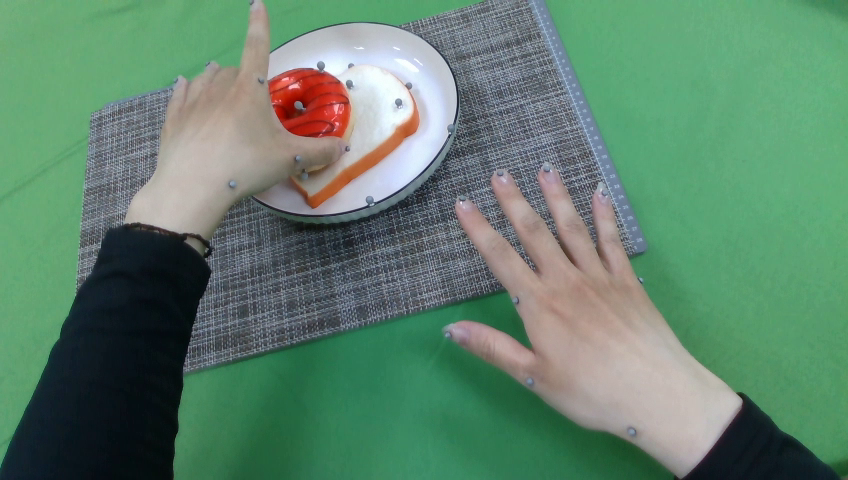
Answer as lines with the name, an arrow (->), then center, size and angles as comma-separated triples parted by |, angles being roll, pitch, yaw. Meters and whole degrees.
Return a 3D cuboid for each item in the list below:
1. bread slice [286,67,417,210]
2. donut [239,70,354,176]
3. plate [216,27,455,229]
bread slice -> -0.074, -0.099, 0.531 | 0.131, 0.019, 0.104 | -38, 62, -10
donut -> -0.106, -0.098, 0.501 | 0.099, 0.049, 0.098 | -5, 64, 11
plate -> -0.075, -0.096, 0.528 | 0.207, 0.039, 0.206 | -4, 62, 8
